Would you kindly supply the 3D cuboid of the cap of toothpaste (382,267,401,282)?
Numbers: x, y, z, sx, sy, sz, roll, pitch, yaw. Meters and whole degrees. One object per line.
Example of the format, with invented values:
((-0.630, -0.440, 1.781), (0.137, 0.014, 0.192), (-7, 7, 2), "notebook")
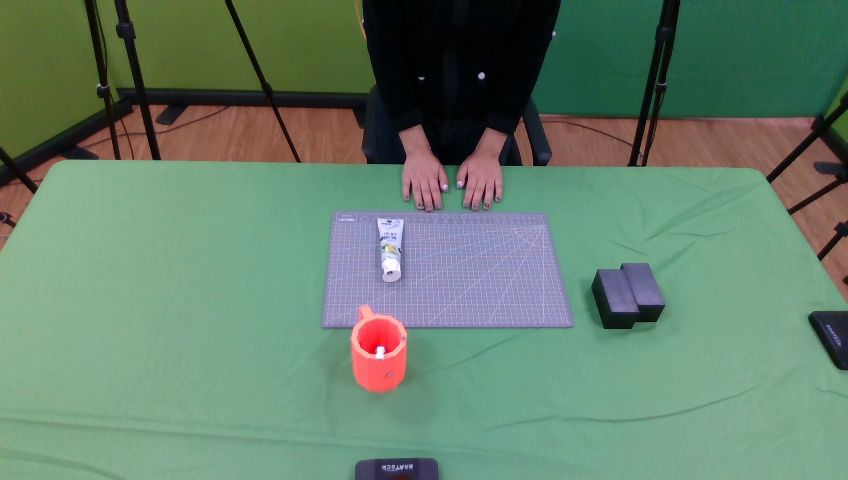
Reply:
((-0.060, 0.063, 1.119), (0.037, 0.037, 0.011), (-9, 50, -12), "cap of toothpaste")

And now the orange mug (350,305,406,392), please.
((-0.080, 0.168, 0.978), (0.083, 0.101, 0.125), (-16, 54, -18), "orange mug")

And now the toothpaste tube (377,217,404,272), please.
((-0.063, 0.008, 1.179), (0.055, 0.034, 0.164), (5, 42, -9), "toothpaste tube")

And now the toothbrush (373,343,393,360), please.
((-0.062, 0.167, 0.925), (0.014, 0.182, 0.016), (-20, 84, 0), "toothbrush")
